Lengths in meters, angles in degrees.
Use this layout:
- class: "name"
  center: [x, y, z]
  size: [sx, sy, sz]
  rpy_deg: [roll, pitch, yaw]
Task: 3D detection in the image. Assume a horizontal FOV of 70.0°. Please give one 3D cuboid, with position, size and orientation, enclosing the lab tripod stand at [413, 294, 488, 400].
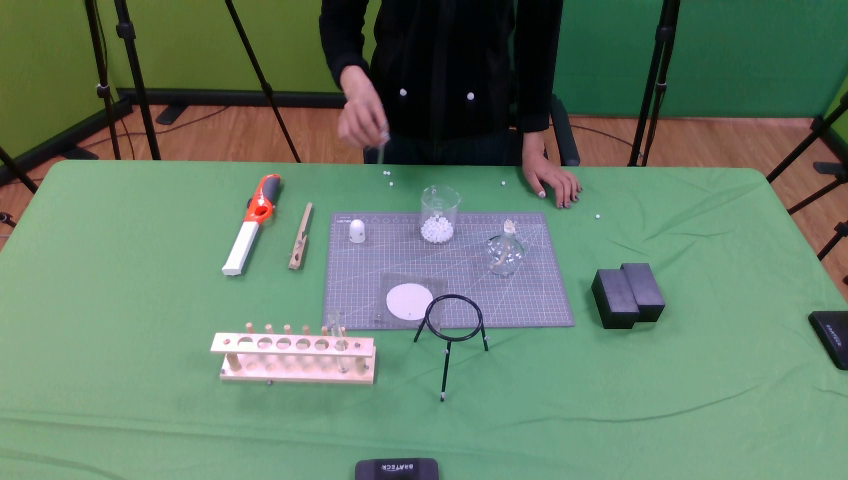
- class: "lab tripod stand"
  center: [0.044, 0.159, 0.972]
  size: [0.148, 0.132, 0.147]
  rpy_deg: [2, 44, -2]

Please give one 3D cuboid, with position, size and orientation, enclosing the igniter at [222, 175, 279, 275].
- class: "igniter"
  center: [-0.341, -0.039, 1.206]
  size: [0.057, 0.025, 0.275]
  rpy_deg: [-1, 45, 8]

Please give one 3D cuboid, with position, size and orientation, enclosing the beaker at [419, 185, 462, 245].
- class: "beaker"
  center: [0.029, -0.047, 1.191]
  size: [0.084, 0.101, 0.073]
  rpy_deg: [-5, 47, -10]

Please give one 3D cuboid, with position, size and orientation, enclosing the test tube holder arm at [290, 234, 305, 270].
- class: "test tube holder arm"
  center: [-0.243, 0.021, 1.164]
  size: [0.010, 0.015, 0.087]
  rpy_deg: [30, 39, -26]

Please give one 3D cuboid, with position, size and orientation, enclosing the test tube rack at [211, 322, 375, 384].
- class: "test tube rack"
  center: [-0.203, 0.176, 0.969]
  size: [0.242, 0.085, 0.066]
  rpy_deg: [3, 46, -2]

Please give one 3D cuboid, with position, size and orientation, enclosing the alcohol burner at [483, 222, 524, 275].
- class: "alcohol burner"
  center: [0.152, 0.009, 1.136]
  size: [0.078, 0.119, 0.077]
  rpy_deg: [4, 47, -4]

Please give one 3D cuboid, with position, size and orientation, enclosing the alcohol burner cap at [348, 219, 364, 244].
- class: "alcohol burner cap"
  center: [-0.134, -0.019, 1.190]
  size: [0.034, 0.048, 0.033]
  rpy_deg: [2, 46, -2]

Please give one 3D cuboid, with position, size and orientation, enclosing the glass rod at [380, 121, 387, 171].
- class: "glass rod"
  center: [-0.076, -0.170, 1.128]
  size: [0.008, 0.200, 0.008]
  rpy_deg: [2, 72, -5]

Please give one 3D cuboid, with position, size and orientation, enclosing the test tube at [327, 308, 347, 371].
- class: "test tube"
  center: [-0.132, 0.155, 0.926]
  size: [0.017, 0.151, 0.017]
  rpy_deg: [0, 45, 0]

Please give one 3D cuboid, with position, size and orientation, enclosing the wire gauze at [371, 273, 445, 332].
- class: "wire gauze"
  center: [-0.028, 0.108, 1.100]
  size: [0.125, 0.011, 0.121]
  rpy_deg: [7, 45, 4]

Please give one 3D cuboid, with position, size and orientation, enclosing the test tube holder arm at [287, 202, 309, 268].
- class: "test tube holder arm"
  center: [-0.247, -0.013, 1.193]
  size: [0.013, 0.015, 0.177]
  rpy_deg: [29, 39, -26]
